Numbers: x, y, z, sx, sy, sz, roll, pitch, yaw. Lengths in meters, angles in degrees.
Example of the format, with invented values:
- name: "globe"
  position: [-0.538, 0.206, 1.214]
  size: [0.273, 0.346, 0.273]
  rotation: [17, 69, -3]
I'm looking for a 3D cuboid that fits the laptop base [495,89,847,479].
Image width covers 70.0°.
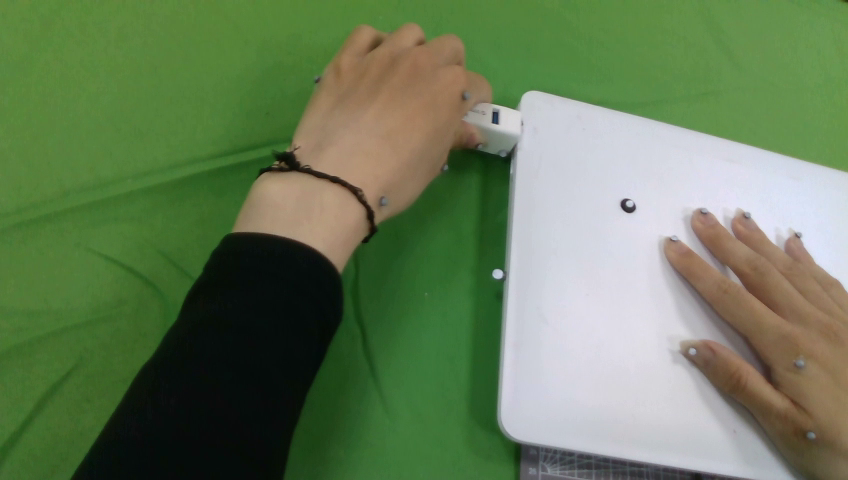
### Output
- name: "laptop base"
  position: [0.217, 0.036, 0.395]
  size: [0.355, 0.023, 0.233]
  rotation: [12, 64, -9]

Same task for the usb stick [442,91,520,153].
- name: "usb stick"
  position: [0.043, -0.073, 0.387]
  size: [0.059, 0.027, 0.021]
  rotation: [14, 59, -18]

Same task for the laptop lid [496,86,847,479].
- name: "laptop lid"
  position: [0.220, 0.033, 0.384]
  size: [0.358, 0.013, 0.240]
  rotation: [13, 63, -8]
